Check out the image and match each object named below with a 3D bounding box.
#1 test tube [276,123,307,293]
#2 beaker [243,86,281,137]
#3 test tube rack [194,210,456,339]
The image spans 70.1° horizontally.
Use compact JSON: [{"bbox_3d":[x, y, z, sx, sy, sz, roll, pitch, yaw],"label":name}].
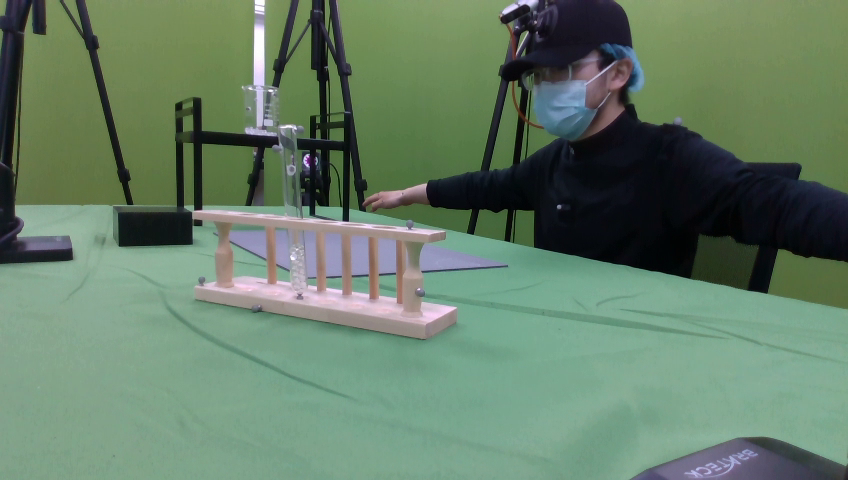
[{"bbox_3d":[-0.116,-0.027,0.532,0.017,0.150,0.017,-3,7,1],"label":"test tube"},{"bbox_3d":[-0.338,-0.265,1.253,0.073,0.100,0.084,8,9,38],"label":"beaker"},{"bbox_3d":[-0.093,0.023,0.546,0.241,0.085,0.067,6,8,25],"label":"test tube rack"}]
